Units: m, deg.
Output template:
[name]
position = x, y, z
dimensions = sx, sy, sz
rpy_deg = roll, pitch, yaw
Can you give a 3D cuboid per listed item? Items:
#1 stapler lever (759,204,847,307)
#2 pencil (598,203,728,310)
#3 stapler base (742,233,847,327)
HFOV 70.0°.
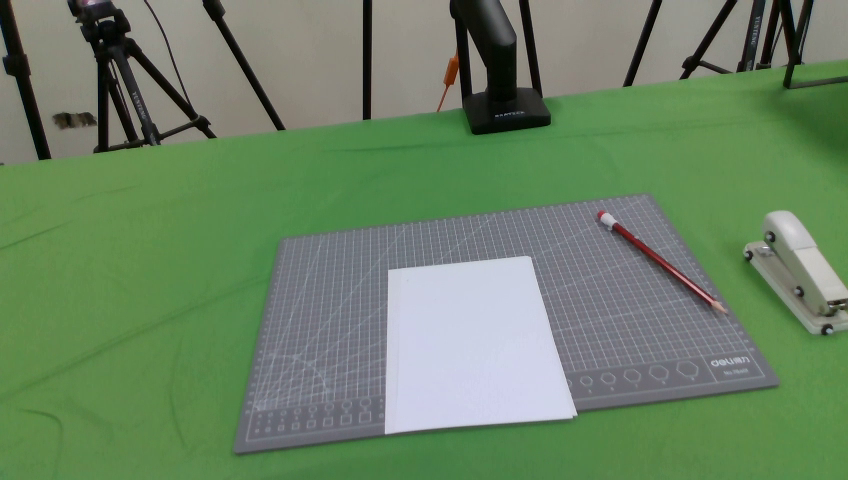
[stapler lever]
position = 0.352, 0.010, 0.562
dimensions = 0.027, 0.040, 0.117
rpy_deg = -10, 38, 0
[pencil]
position = 0.240, 0.012, 0.623
dimensions = 0.012, 0.012, 0.192
rpy_deg = -19, 39, -15
[stapler base]
position = 0.354, 0.029, 0.578
dimensions = 0.041, 0.025, 0.129
rpy_deg = -10, 39, 0
